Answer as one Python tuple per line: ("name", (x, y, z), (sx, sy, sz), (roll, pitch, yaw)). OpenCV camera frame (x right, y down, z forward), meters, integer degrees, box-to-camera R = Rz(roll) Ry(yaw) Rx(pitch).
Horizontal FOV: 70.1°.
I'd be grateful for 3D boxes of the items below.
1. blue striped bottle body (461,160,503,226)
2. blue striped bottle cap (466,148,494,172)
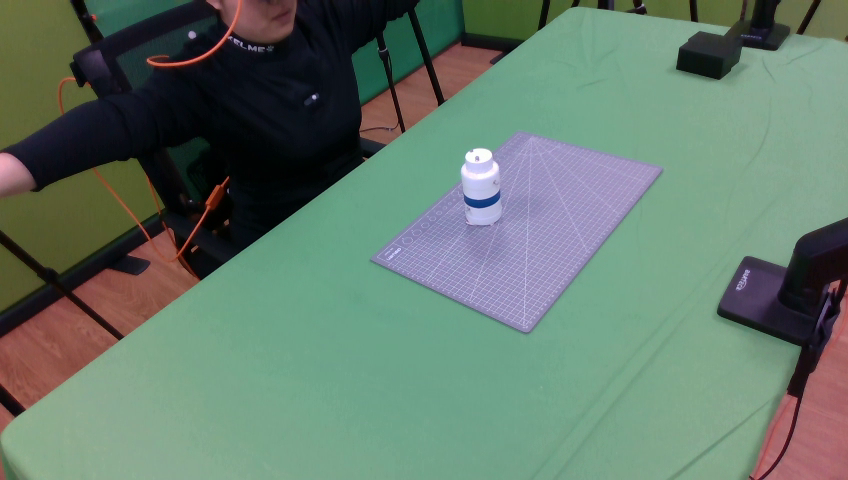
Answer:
("blue striped bottle body", (0.094, -0.088, 0.987), (0.063, 0.121, 0.063), (-6, 40, 5))
("blue striped bottle cap", (0.088, -0.127, 0.955), (0.044, 0.021, 0.044), (-6, 41, 6))
